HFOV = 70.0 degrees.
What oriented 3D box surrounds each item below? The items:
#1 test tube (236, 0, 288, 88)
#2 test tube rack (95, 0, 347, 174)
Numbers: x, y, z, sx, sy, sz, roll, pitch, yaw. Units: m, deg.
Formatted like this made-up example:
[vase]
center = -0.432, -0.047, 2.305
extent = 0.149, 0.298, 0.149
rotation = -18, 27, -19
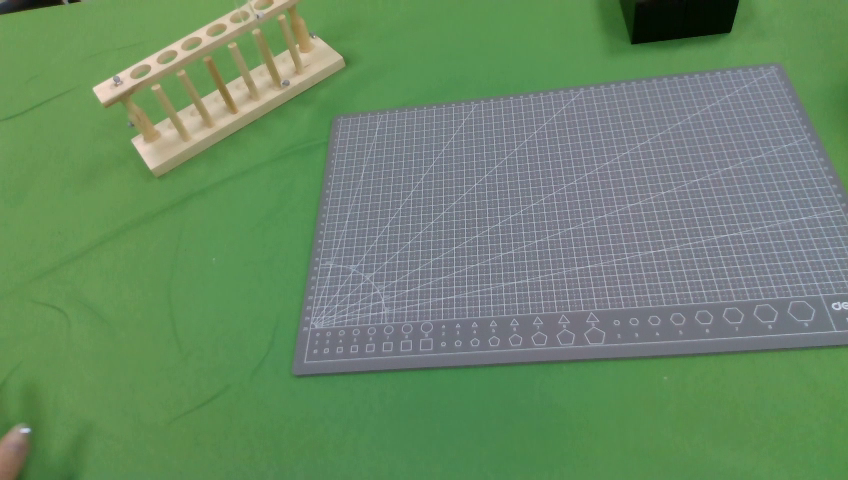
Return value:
[test tube]
center = -0.172, -0.220, 0.620
extent = 0.017, 0.152, 0.017
rotation = -6, 51, 8
[test tube rack]
center = -0.210, -0.180, 0.655
extent = 0.242, 0.086, 0.066
rotation = -35, 55, -14
